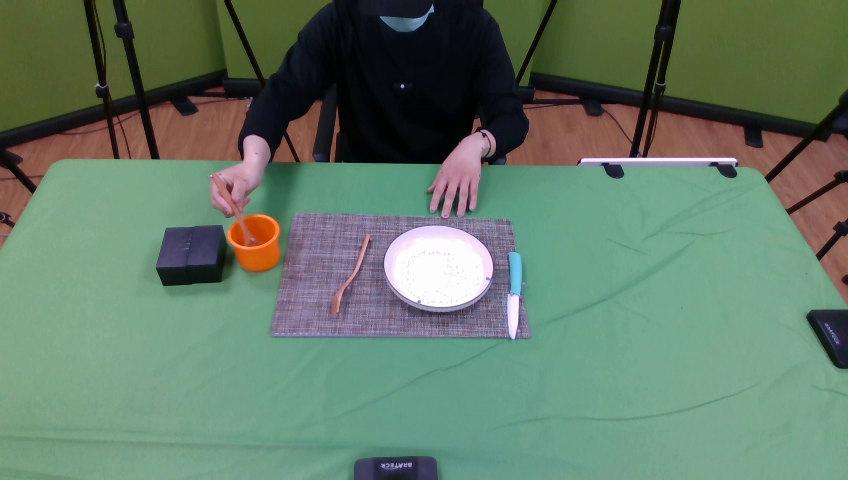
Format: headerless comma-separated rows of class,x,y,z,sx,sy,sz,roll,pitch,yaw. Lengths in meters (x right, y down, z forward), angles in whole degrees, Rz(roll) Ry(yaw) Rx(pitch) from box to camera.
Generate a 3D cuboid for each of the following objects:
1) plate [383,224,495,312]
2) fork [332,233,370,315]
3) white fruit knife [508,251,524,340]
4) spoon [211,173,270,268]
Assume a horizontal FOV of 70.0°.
plate,0.026,0.055,1.128,0.209,0.038,0.208,2,46,-2
fork,-0.133,0.058,1.127,0.019,0.028,0.206,36,43,-13
white fruit knife,0.169,0.098,1.113,0.027,0.016,0.206,-13,43,23
spoon,-0.334,-0.035,1.103,0.041,0.194,0.021,-33,23,-30
